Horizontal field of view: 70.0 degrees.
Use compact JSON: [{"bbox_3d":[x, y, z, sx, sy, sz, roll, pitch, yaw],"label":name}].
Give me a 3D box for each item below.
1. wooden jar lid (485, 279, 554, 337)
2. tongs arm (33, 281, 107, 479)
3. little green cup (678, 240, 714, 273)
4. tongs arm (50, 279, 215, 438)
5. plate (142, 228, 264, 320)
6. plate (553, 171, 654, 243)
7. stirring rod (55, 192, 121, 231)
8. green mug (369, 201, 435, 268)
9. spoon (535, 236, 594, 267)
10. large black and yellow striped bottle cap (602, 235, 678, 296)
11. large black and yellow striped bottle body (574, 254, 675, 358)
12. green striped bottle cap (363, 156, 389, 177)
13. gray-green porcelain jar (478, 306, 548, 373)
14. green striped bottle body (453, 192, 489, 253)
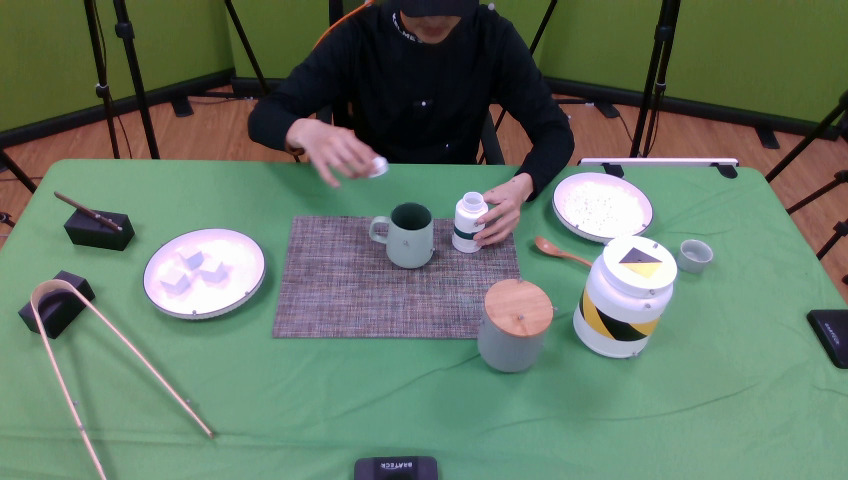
[{"bbox_3d":[0.147,0.108,0.940,0.108,0.021,0.107,4,47,-4],"label":"wooden jar lid"},{"bbox_3d":[-0.517,0.214,0.910,0.051,0.026,0.383,-28,63,-27],"label":"tongs arm"},{"bbox_3d":[0.531,0.033,1.190,0.061,0.039,0.061,1,46,-1],"label":"little green cup"},{"bbox_3d":[-0.459,0.178,0.949,0.386,0.028,0.028,37,60,17],"label":"tongs arm"},{"bbox_3d":[-0.394,0.064,1.095,0.208,0.039,0.206,2,46,-2],"label":"plate"},{"bbox_3d":[0.373,-0.066,1.275,0.209,0.038,0.208,2,46,-2],"label":"plate"},{"bbox_3d":[-0.632,-0.055,1.138,0.175,0.014,0.006,24,50,19],"label":"stirring rod"},{"bbox_3d":[-0.042,-0.011,1.140,0.125,0.105,0.092,7,47,5],"label":"green mug"},{"bbox_3d":[0.303,0.040,1.178,0.193,0.022,0.041,25,31,19],"label":"spoon"},{"bbox_3d":[0.340,0.037,0.956,0.115,0.019,0.114,2,47,-2],"label":"large black and yellow striped bottle cap"},{"bbox_3d":[0.335,0.096,1.014,0.131,0.185,0.130,2,46,-2],"label":"large black and yellow striped bottle body"},{"bbox_3d":[-0.086,-0.131,1.076,0.044,0.020,0.044,-9,35,7],"label":"green striped bottle cap"},{"bbox_3d":[0.144,0.148,0.989,0.106,0.127,0.105,2,50,-2],"label":"gray-green porcelain jar"},{"bbox_3d":[0.090,-0.037,1.164,0.063,0.120,0.063,2,46,-2],"label":"green striped bottle body"}]
